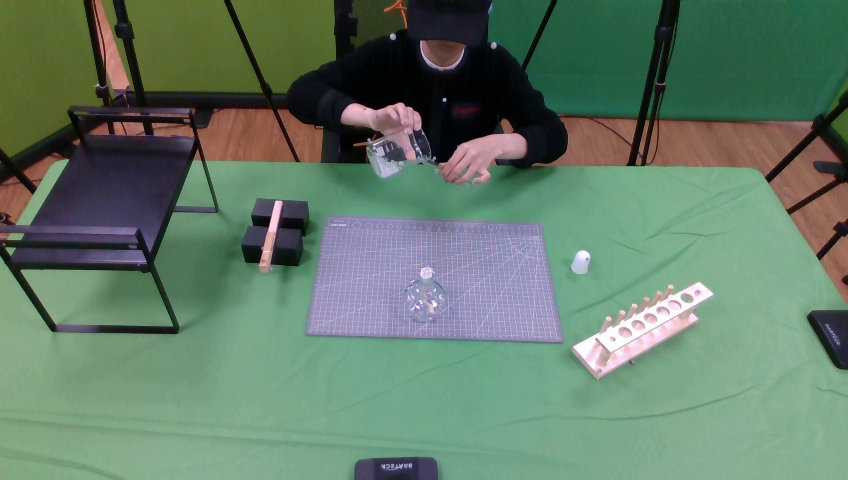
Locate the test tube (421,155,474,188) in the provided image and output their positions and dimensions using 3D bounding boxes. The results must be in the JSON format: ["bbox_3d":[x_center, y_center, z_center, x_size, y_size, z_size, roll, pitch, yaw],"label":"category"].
[{"bbox_3d":[0.049,-0.131,1.180,0.151,0.017,0.017,23,28,-44],"label":"test tube"}]

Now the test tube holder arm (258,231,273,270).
[{"bbox_3d":[-0.282,0.018,1.086,0.015,0.010,0.087,-3,47,3],"label":"test tube holder arm"}]

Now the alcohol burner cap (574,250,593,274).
[{"bbox_3d":[0.308,0.039,1.163,0.034,0.048,0.033,1,46,-1],"label":"alcohol burner cap"}]

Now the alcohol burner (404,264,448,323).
[{"bbox_3d":[0.003,0.087,1.042,0.078,0.120,0.077,1,45,0],"label":"alcohol burner"}]

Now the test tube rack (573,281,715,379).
[{"bbox_3d":[0.378,0.140,1.038,0.242,0.085,0.066,-22,51,-23],"label":"test tube rack"}]

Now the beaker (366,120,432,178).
[{"bbox_3d":[-0.047,-0.159,1.092,0.100,0.084,0.073,-26,45,-12],"label":"beaker"}]

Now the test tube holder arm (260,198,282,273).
[{"bbox_3d":[-0.282,-0.012,1.120,0.015,0.013,0.177,-3,48,3],"label":"test tube holder arm"}]
